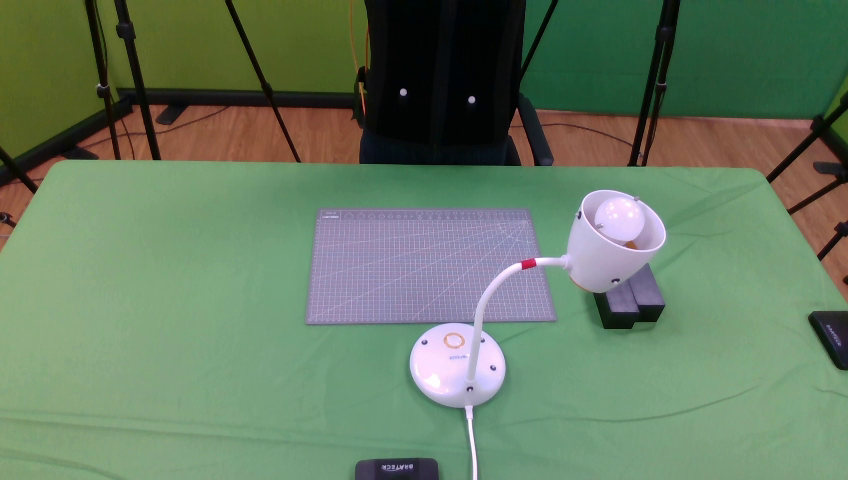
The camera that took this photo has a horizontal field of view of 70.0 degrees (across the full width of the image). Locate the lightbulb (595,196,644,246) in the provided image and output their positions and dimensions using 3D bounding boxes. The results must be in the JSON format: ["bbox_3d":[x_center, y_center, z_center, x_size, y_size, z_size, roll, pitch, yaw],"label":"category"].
[{"bbox_3d":[0.244,-0.008,0.784,0.059,0.108,0.059,8,40,-7],"label":"lightbulb"}]

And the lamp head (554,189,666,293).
[{"bbox_3d":[0.234,0.012,0.796,0.113,0.123,0.111,13,43,-13],"label":"lamp head"}]

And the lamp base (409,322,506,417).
[{"bbox_3d":[0.063,0.160,0.941,0.161,0.181,0.178,-10,50,-13],"label":"lamp base"}]
